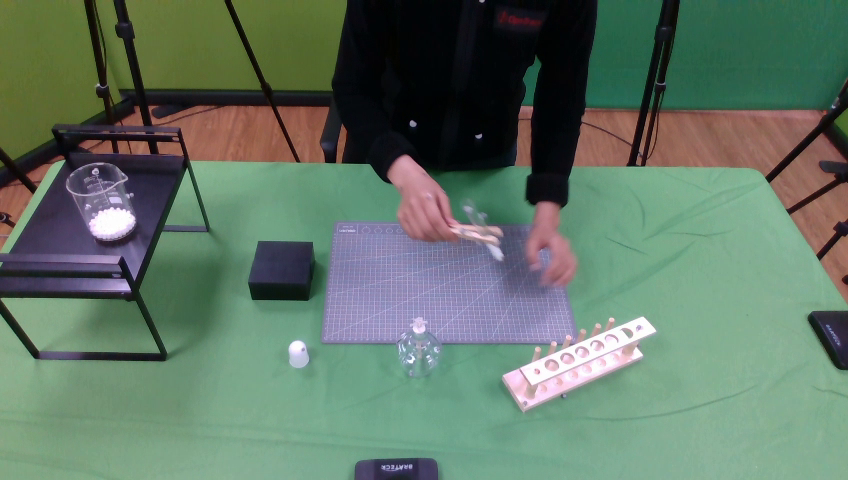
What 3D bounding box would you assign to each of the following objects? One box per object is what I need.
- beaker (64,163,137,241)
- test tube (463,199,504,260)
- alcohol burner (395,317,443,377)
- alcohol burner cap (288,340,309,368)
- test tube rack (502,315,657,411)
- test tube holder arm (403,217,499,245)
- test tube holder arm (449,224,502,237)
[{"bbox_3d":[-0.477,-0.055,0.910,0.084,0.101,0.073,-9,48,-13],"label":"beaker"},{"bbox_3d":[0.089,-0.012,0.883,0.017,0.151,0.017,-13,53,19],"label":"test tube"},{"bbox_3d":[-0.008,0.166,0.971,0.078,0.120,0.077,1,45,-1],"label":"alcohol burner"},{"bbox_3d":[-0.207,0.183,0.991,0.034,0.048,0.033,3,47,-2],"label":"alcohol burner cap"},{"bbox_3d":[0.253,0.186,0.988,0.242,0.085,0.066,-18,50,-20],"label":"test tube rack"},{"bbox_3d":[0.037,-0.016,0.927,0.177,0.015,0.013,12,62,37],"label":"test tube holder arm"},{"bbox_3d":[0.075,-0.014,0.903,0.087,0.015,0.010,4,58,33],"label":"test tube holder arm"}]
